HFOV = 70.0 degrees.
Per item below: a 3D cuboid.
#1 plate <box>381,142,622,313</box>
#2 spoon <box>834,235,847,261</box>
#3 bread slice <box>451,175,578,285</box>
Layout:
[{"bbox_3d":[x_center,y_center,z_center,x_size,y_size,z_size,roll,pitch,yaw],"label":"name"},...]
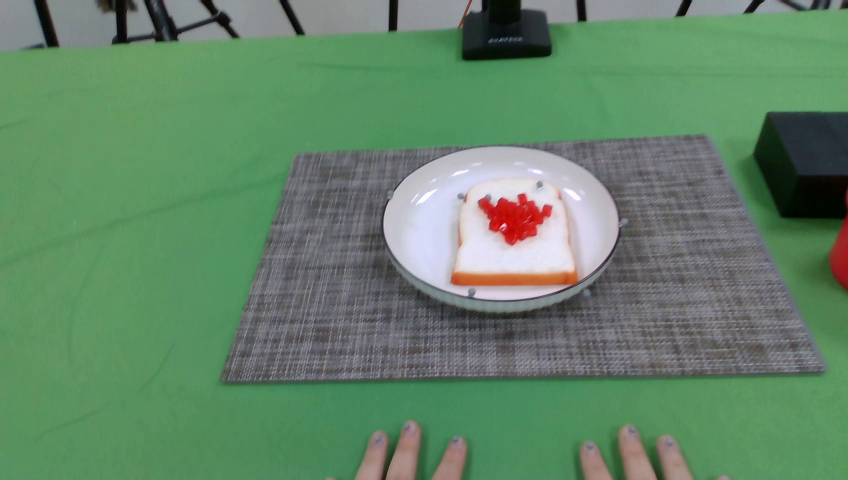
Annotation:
[{"bbox_3d":[0.066,-0.013,0.542,0.209,0.038,0.207,-3,45,4],"label":"plate"},{"bbox_3d":[0.403,-0.013,0.434,0.022,0.193,0.041,49,54,-11],"label":"spoon"},{"bbox_3d":[0.079,-0.013,0.543,0.105,0.019,0.130,0,45,6],"label":"bread slice"}]
